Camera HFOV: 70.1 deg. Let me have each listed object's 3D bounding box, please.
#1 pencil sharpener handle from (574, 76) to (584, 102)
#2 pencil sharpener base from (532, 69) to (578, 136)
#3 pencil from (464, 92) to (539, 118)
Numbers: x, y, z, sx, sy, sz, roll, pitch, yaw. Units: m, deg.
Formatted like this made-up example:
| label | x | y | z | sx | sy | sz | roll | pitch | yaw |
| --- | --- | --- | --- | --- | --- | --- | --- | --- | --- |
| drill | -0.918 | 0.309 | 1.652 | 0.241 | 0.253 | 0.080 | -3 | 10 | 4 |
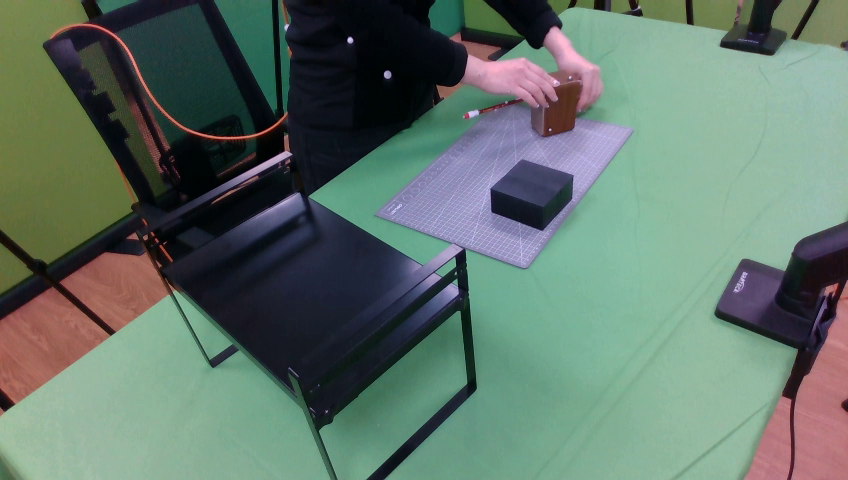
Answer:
| label | x | y | z | sx | sy | sz | roll | pitch | yaw |
| --- | --- | --- | --- | --- | --- | --- | --- | --- | --- |
| pencil sharpener handle | 0.302 | -0.295 | 1.183 | 0.031 | 0.068 | 0.036 | -15 | 60 | -8 |
| pencil sharpener base | 0.256 | -0.269 | 1.180 | 0.077 | 0.107 | 0.061 | -15 | 41 | -9 |
| pencil | 0.167 | -0.263 | 1.151 | 0.194 | 0.012 | 0.012 | -18 | 42 | -7 |
